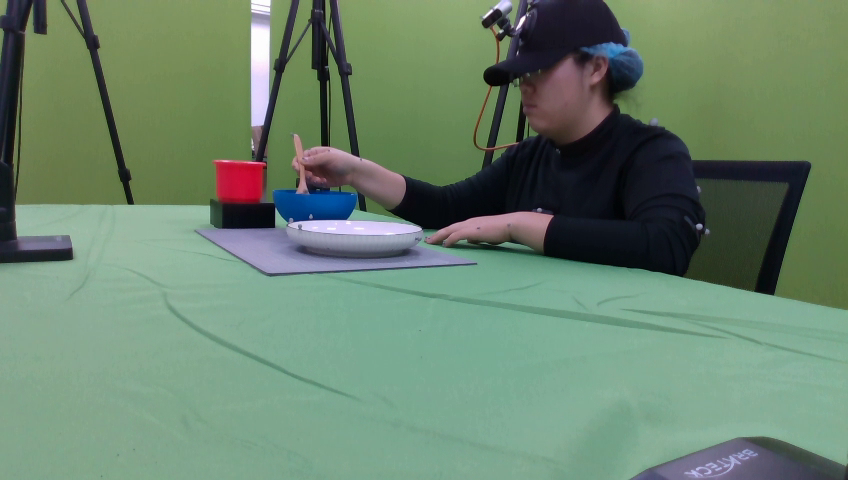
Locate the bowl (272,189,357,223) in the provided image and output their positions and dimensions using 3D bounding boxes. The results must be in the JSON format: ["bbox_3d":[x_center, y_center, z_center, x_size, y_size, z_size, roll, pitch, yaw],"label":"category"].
[{"bbox_3d":[-0.196,-0.049,1.082,0.151,0.077,0.151,2,7,0],"label":"bowl"}]

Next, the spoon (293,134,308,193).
[{"bbox_3d":[-0.225,-0.123,1.104,0.042,0.193,0.021,8,-34,-28],"label":"spoon"}]

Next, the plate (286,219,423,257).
[{"bbox_3d":[-0.105,-0.004,0.922,0.208,0.039,0.207,3,8,0],"label":"plate"}]
